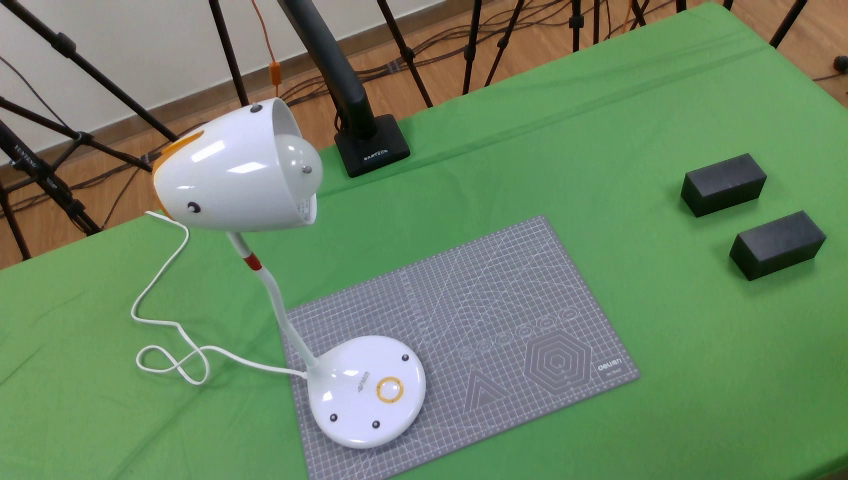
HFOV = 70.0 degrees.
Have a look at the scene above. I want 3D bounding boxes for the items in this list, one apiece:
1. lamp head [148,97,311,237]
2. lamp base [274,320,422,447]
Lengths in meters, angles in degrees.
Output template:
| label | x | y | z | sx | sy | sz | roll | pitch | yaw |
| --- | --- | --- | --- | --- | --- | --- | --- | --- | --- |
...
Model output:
| label | x | y | z | sx | sy | sz | roll | pitch | yaw |
| --- | --- | --- | --- | --- | --- | --- | --- | --- | --- |
| lamp head | -0.168 | -0.052 | 0.524 | 0.123 | 0.113 | 0.111 | -17 | 54 | 6 |
| lamp base | -0.108 | 0.158 | 0.770 | 0.178 | 0.182 | 0.159 | 0 | 55 | 15 |
